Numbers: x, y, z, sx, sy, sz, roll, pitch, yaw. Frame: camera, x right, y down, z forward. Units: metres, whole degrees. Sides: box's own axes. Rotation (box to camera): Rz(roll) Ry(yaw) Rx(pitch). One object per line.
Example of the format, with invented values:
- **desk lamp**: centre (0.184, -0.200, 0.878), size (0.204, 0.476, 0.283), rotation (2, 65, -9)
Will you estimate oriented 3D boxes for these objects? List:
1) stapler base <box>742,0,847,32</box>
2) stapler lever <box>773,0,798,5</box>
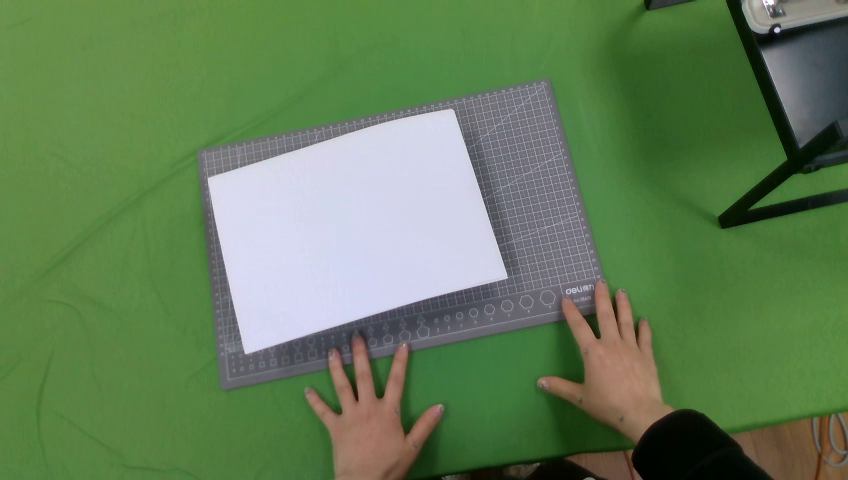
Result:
- **stapler base**: centre (0.361, -0.225, 0.552), size (0.130, 0.024, 0.041), rotation (-13, 77, -1)
- **stapler lever**: centre (0.361, -0.232, 0.528), size (0.118, 0.040, 0.026), rotation (-13, 77, -1)
